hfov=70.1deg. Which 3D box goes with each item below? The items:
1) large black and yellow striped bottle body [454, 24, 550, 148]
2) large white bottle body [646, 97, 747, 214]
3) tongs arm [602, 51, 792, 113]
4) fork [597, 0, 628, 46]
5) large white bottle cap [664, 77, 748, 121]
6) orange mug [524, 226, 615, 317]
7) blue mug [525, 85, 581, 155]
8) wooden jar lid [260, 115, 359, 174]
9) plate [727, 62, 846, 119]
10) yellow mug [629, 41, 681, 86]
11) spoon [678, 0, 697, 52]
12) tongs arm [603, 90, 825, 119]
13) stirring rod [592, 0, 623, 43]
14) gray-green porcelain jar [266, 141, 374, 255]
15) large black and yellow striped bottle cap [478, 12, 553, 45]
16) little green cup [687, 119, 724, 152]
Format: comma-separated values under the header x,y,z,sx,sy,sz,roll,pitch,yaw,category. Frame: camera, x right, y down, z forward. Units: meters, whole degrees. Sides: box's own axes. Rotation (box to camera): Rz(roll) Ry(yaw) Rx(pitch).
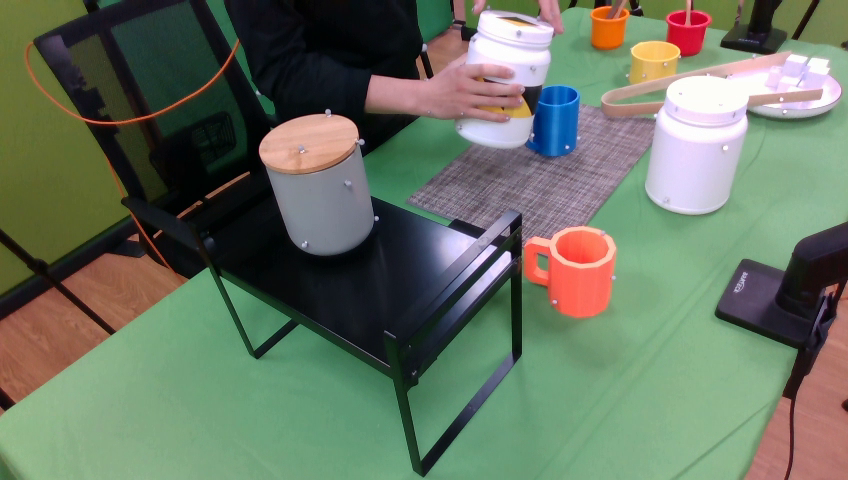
x,y,z,sx,sy,sz,roll,pitch,yaw,category
0.126,-0.255,0.971,0.131,0.184,0.130,8,31,-5,large black and yellow striped bottle body
0.431,-0.148,0.959,0.130,0.185,0.130,-4,41,4,large white bottle body
0.552,-0.320,1.224,0.384,0.027,0.050,-11,44,7,tongs arm
0.479,-0.558,1.455,0.028,0.019,0.207,35,100,38,fork
0.421,-0.212,0.905,0.115,0.018,0.114,-4,40,4,large white bottle cap
0.201,0.039,0.845,0.125,0.101,0.083,18,47,21,orange mug
0.233,-0.218,1.127,0.117,0.106,0.081,-23,43,-16,blue mug
-0.124,-0.101,0.662,0.108,0.021,0.108,-4,41,4,wooden jar lid
0.709,-0.292,1.197,0.207,0.039,0.206,-4,40,4,plate
0.495,-0.389,1.321,0.100,0.064,0.130,-14,40,-7,yellow mug
0.614,-0.526,1.402,0.041,0.022,0.193,3,86,11,spoon
0.546,-0.262,1.163,0.386,0.028,0.028,-1,49,18,tongs arm
0.460,-0.557,1.461,0.014,0.176,0.006,35,11,22,stirring rod
-0.117,-0.054,0.703,0.106,0.127,0.105,-4,40,4,gray-green porcelain jar
0.141,-0.325,0.927,0.115,0.019,0.114,7,33,-4,large black and yellow striped bottle cap
0.514,-0.191,1.109,0.061,0.039,0.061,-5,40,5,little green cup
